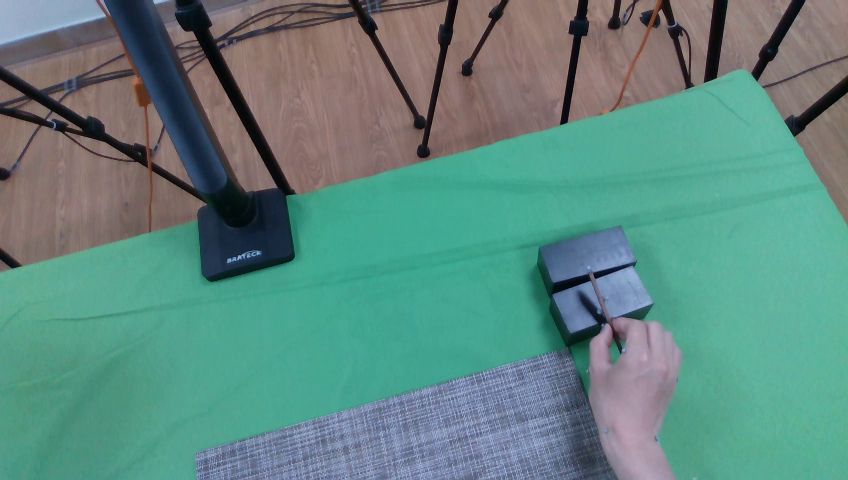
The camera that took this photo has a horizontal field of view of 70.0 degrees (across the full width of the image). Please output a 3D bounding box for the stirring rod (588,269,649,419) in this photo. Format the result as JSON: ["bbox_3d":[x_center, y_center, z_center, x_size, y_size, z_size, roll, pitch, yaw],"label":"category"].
[{"bbox_3d":[0.212,0.114,0.661,0.006,0.014,0.176,-21,92,9],"label":"stirring rod"}]
